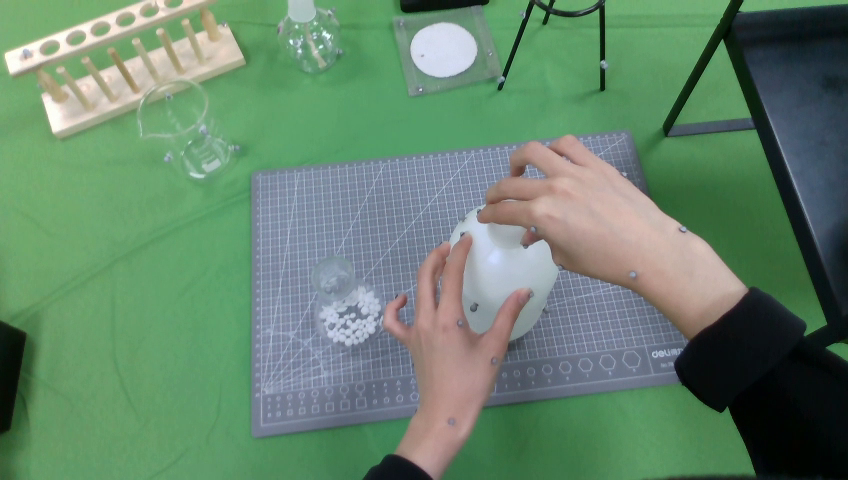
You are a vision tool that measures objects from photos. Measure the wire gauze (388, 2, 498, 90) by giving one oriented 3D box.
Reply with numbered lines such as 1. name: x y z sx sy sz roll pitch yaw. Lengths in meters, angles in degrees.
1. wire gauze: 0.023 -0.253 0.775 0.121 0.011 0.124 -11 67 -5

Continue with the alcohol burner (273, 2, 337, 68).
1. alcohol burner: -0.146 -0.266 0.727 0.078 0.120 0.077 0 64 0

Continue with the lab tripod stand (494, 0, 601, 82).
1. lab tripod stand: 0.154 -0.254 0.706 0.148 0.132 0.147 0 65 -1

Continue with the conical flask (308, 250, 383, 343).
1. conical flask: -0.081 0.049 0.582 0.075 0.123 0.075 0 66 1

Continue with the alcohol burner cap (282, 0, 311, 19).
1. alcohol burner cap: -0.147 -0.282 0.694 0.034 0.048 0.033 3 64 -7

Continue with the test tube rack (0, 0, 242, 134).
1. test tube rack: -0.354 -0.222 0.726 0.242 0.086 0.066 -25 69 -10

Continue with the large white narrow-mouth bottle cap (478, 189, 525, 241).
1. large white narrow-mouth bottle cap: 0.061 -0.019 0.477 0.038 0.024 0.037 -1 67 3

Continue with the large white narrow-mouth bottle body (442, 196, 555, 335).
1. large white narrow-mouth bottle body: 0.068 0.017 0.556 0.102 0.196 0.101 -1 66 3

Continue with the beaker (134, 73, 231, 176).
1. beaker: -0.265 -0.122 0.674 0.073 0.101 0.084 38 72 17

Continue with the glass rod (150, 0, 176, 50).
1. glass rod: -0.312 -0.286 0.681 0.008 0.201 0.008 1 64 -3
